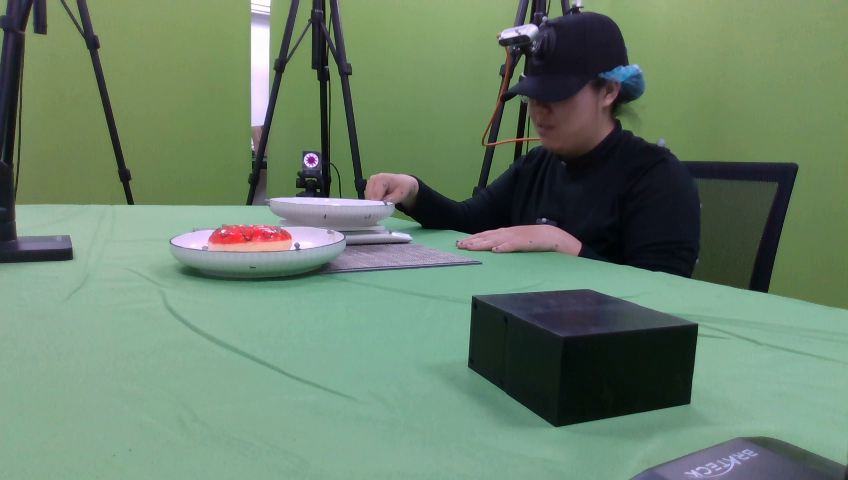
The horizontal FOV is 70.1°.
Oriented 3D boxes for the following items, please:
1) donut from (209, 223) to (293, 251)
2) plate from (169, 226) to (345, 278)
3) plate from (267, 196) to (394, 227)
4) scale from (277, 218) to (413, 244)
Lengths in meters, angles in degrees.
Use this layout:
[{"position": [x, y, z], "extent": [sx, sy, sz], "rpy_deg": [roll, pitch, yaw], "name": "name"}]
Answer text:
[{"position": [-0.210, 0.004, 0.738], "extent": [0.099, 0.048, 0.099], "rpy_deg": [0, 8, 0], "name": "donut"}, {"position": [-0.202, 0.014, 0.748], "extent": [0.209, 0.038, 0.209], "rpy_deg": [1, 9, 0], "name": "plate"}, {"position": [-0.152, -0.047, 0.998], "extent": [0.208, 0.039, 0.207], "rpy_deg": [2, 7, 0], "name": "plate"}, {"position": [-0.134, -0.015, 1.015], "extent": [0.202, 0.031, 0.148], "rpy_deg": [-1, 9, -33], "name": "scale"}]
